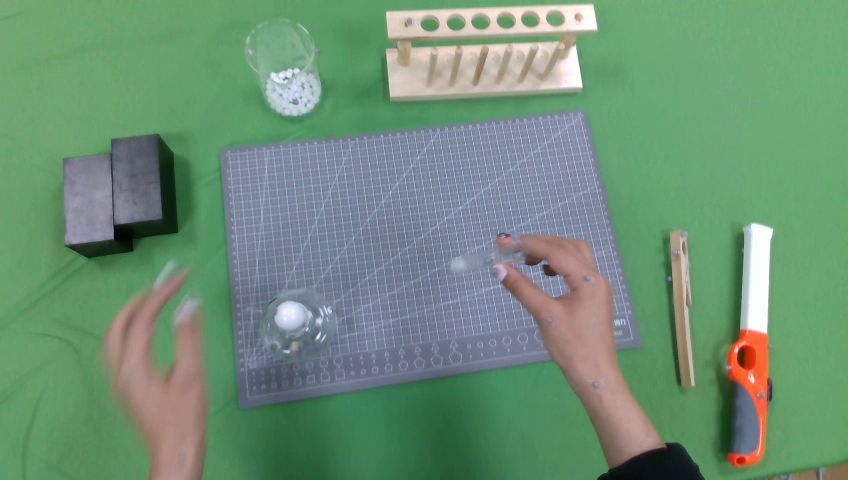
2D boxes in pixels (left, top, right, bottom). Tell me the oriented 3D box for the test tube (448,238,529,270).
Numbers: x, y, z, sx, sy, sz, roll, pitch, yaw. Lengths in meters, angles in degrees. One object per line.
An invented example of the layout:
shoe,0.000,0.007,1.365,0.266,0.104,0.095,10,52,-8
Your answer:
test tube,0.052,0.015,0.539,0.017,0.150,0.017,2,83,-18

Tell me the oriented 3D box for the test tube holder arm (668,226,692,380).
test tube holder arm,0.296,0.071,0.700,0.013,0.015,0.177,12,73,-32

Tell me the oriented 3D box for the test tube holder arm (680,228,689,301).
test tube holder arm,0.302,0.029,0.714,0.010,0.015,0.087,13,73,-32

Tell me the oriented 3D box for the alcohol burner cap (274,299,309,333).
alcohol burner cap,-0.129,0.072,0.581,0.034,0.048,0.033,1,79,-5

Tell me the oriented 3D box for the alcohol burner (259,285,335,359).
alcohol burner,-0.131,0.080,0.616,0.078,0.119,0.077,2,73,-5

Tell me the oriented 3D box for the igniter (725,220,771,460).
igniter,0.372,0.110,0.692,0.057,0.025,0.275,15,74,-11

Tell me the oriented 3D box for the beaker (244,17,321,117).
beaker,-0.158,-0.191,0.698,0.074,0.100,0.083,-5,75,-5

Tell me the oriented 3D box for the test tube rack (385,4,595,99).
test tube rack,0.076,-0.226,0.731,0.243,0.085,0.066,-4,75,-5
